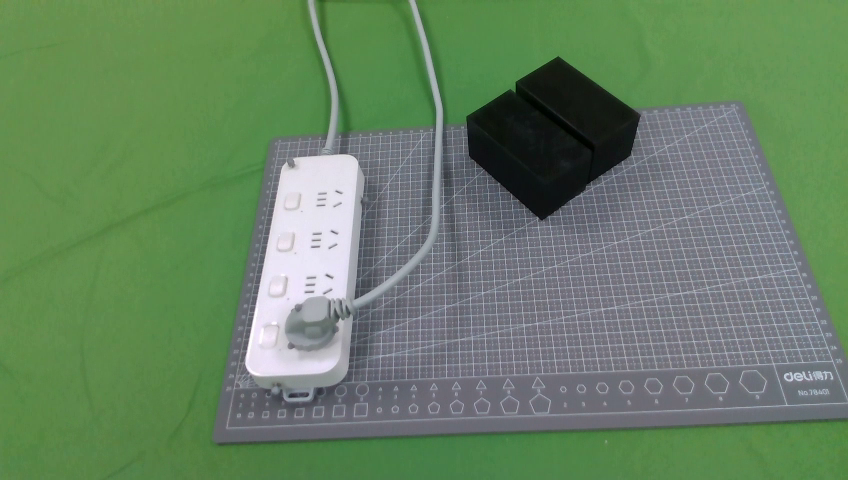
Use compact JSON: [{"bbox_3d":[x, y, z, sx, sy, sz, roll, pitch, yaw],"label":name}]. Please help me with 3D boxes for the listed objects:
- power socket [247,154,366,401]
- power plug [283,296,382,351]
[{"bbox_3d":[-0.091,0.017,0.495,0.072,0.033,0.224,-2,56,5],"label":"power socket"},{"bbox_3d":[-0.065,0.064,0.431,0.072,0.053,0.035,7,57,11],"label":"power plug"}]
